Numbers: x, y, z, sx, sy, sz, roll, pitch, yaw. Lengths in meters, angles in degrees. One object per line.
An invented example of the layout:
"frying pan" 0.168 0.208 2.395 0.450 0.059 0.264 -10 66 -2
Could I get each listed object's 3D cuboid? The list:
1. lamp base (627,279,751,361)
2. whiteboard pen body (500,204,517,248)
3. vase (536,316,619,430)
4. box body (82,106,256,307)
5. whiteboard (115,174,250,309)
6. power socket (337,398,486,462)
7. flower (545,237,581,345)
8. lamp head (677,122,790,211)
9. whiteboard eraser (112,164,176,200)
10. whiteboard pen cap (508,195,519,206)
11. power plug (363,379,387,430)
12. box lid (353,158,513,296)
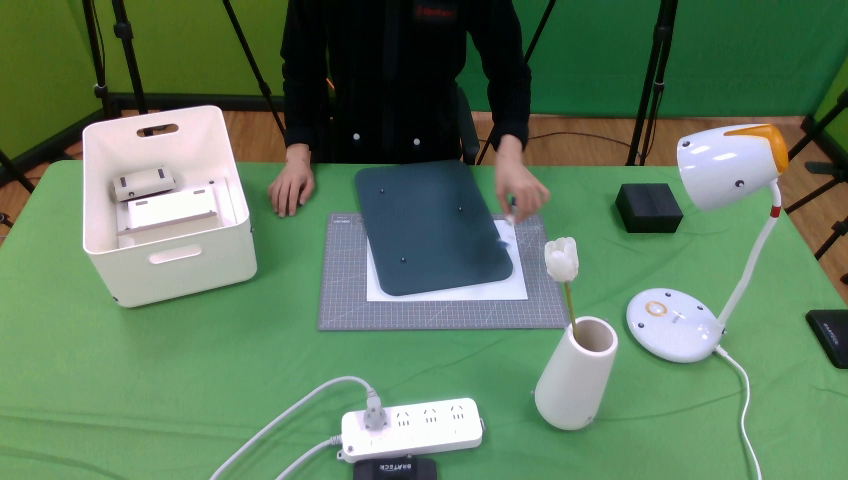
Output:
"lamp base" 0.460 0.100 1.027 0.178 0.181 0.160 27 51 17
"whiteboard pen body" 0.161 -0.035 1.144 0.017 0.017 0.140 13 45 8
"vase" 0.229 0.200 0.901 0.098 0.201 0.097 3 46 -3
"box body" -0.471 -0.070 1.131 0.254 0.161 0.361 -14 49 -17
"whiteboard" -0.473 -0.055 1.130 0.217 0.144 0.303 -15 50 -16
"power socket" -0.018 0.285 0.914 0.227 0.033 0.071 -4 46 -8
"flower" 0.213 0.137 0.846 0.038 0.364 0.044 22 55 40
"lamp head" 0.423 -0.104 0.819 0.122 0.113 0.112 -13 33 39
"whiteboard eraser" -0.567 -0.116 1.230 0.113 0.042 0.055 -17 57 -21
"whiteboard pen cap" 0.175 -0.073 1.186 0.018 0.018 0.033 14 45 9
"power plug" -0.071 0.252 0.911 0.035 0.053 0.072 3 40 0
"box lid" 0.008 -0.039 1.242 0.264 0.015 0.369 -8 47 -12
